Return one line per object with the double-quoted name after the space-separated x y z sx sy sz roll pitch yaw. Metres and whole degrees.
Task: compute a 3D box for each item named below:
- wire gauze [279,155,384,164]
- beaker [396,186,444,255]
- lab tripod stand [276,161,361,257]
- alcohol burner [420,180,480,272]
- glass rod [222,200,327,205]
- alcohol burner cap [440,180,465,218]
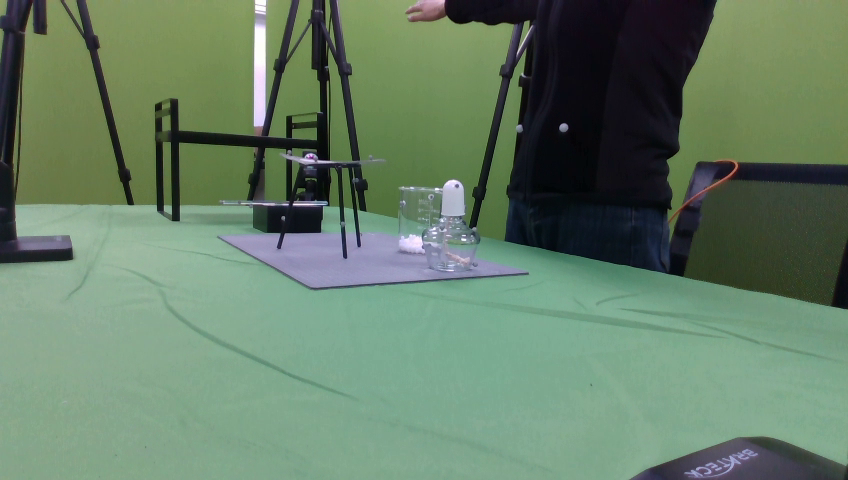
-0.134 -0.114 0.875 0.122 0.011 0.124 -2 9 -30 "wire gauze"
-0.004 -0.030 0.921 0.083 0.100 0.074 8 9 31 "beaker"
-0.143 -0.049 0.884 0.148 0.131 0.148 1 9 0 "lab tripod stand"
0.035 -0.018 0.785 0.078 0.119 0.078 3 5 0 "alcohol burner"
-0.276 -0.069 1.134 0.201 0.008 0.008 -1 8 -33 "glass rod"
0.038 -0.054 0.781 0.034 0.048 0.034 0 13 0 "alcohol burner cap"
